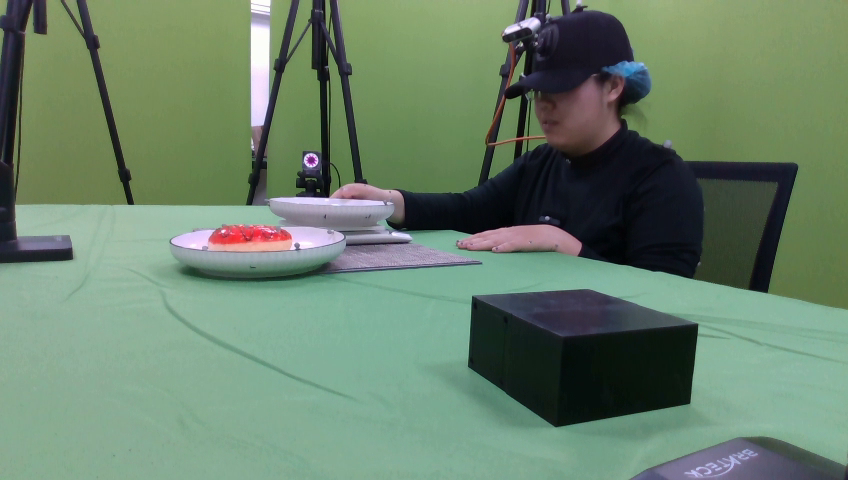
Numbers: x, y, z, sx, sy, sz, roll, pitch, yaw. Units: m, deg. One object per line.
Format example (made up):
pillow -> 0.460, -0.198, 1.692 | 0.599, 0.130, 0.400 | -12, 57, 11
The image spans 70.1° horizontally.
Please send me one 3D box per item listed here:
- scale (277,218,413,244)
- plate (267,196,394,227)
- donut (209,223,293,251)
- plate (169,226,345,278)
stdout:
scale -> -0.134, -0.015, 1.015 | 0.202, 0.031, 0.148 | -1, 9, -33
plate -> -0.152, -0.047, 0.998 | 0.208, 0.039, 0.207 | 2, 7, 0
donut -> -0.210, 0.004, 0.738 | 0.099, 0.048, 0.099 | 0, 8, 0
plate -> -0.202, 0.014, 0.748 | 0.209, 0.038, 0.209 | 1, 9, 0
